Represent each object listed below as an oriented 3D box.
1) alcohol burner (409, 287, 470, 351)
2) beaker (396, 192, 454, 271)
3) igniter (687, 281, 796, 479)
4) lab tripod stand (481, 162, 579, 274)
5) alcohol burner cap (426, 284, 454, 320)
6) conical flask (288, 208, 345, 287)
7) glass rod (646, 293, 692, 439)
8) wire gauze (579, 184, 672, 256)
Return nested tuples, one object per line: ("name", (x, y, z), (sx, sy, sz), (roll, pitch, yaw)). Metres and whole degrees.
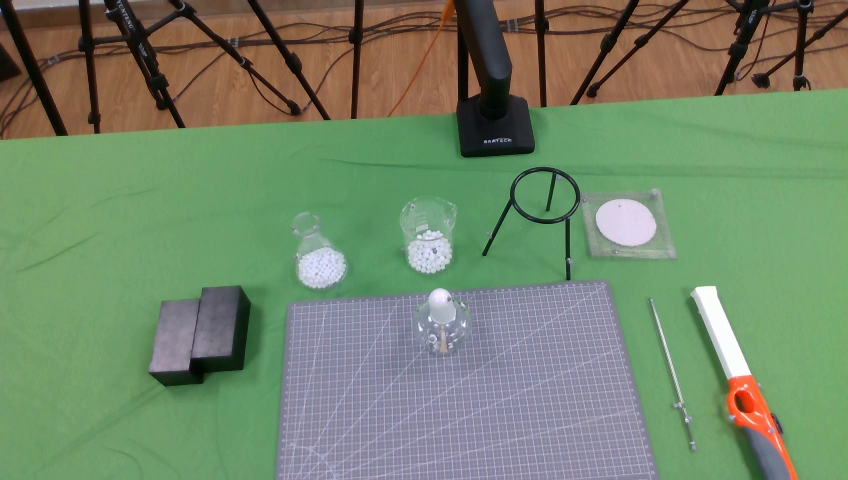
("alcohol burner", (0.020, 0.093, 0.765), (0.078, 0.120, 0.077), (0, 56, 1))
("beaker", (0.005, -0.010, 0.841), (0.084, 0.101, 0.073), (-27, 61, -15))
("igniter", (0.393, 0.176, 0.756), (0.057, 0.025, 0.274), (-2, 58, -11))
("lab tripod stand", (0.152, -0.030, 0.828), (0.148, 0.132, 0.147), (-1, 60, 2))
("alcohol burner cap", (0.018, 0.072, 0.735), (0.034, 0.048, 0.033), (-4, 53, 6))
("conical flask", (-0.152, 0.006, 0.822), (0.075, 0.123, 0.074), (-1, 58, 2))
("glass rod", (0.314, 0.156, 0.783), (0.008, 0.008, 0.198), (-4, 58, -1))
("wire gauze", (0.297, -0.031, 0.899), (0.125, 0.011, 0.120), (1, 59, 0))
